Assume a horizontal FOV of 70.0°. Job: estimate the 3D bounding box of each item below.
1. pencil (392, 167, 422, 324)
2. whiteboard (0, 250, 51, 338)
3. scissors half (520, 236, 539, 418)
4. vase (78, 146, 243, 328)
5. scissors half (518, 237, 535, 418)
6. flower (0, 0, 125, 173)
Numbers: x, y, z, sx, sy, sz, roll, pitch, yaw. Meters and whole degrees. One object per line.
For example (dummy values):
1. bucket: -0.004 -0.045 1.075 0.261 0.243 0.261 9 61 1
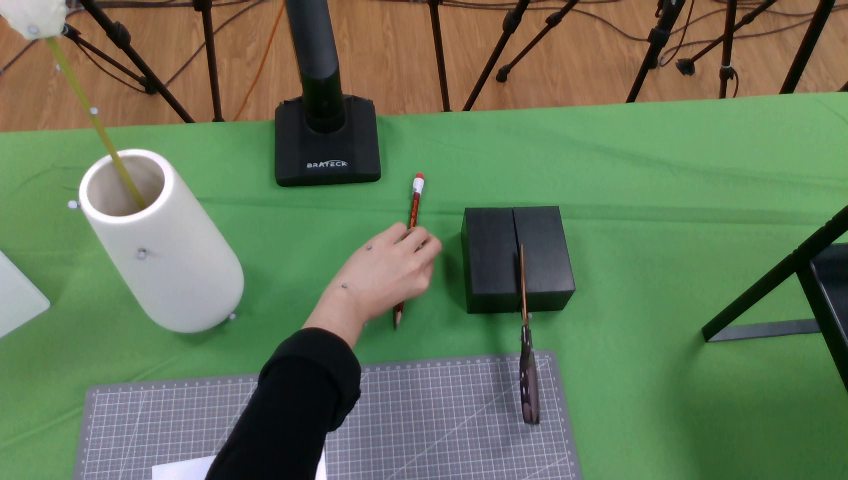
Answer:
1. pencil: -0.019 0.001 0.660 0.012 0.012 0.192 8 63 1
2. whiteboard: -0.521 -0.015 0.500 0.217 0.308 0.142 -35 50 -20
3. scissors half: 0.100 0.082 0.585 0.013 0.040 0.174 -5 81 19
4. vase: -0.227 0.003 0.537 0.098 0.201 0.097 1 60 -2
5. scissors half: 0.093 0.076 0.567 0.013 0.040 0.174 -4 63 14
6. flower: -0.232 -0.049 0.470 0.044 0.365 0.038 -10 45 -6
